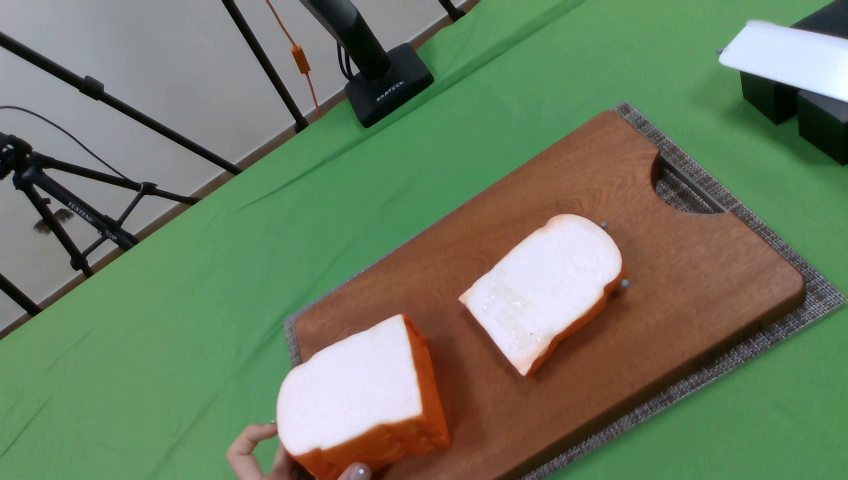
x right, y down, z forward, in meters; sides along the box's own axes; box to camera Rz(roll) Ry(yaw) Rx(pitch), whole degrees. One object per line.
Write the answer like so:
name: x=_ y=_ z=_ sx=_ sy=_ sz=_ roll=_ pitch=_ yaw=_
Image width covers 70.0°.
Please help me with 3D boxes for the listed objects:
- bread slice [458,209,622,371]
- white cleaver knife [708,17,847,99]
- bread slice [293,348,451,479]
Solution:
bread slice: x=0.102 y=0.035 z=0.509 sx=0.131 sy=0.019 sz=0.103 roll=-44 pitch=42 yaw=4
white cleaver knife: x=0.345 y=-0.122 z=0.454 sx=0.066 sy=0.022 sz=0.283 roll=-45 pitch=46 yaw=-1
bread slice: x=-0.049 y=0.153 z=0.533 sx=0.134 sy=0.018 sz=0.106 roll=-13 pitch=46 yaw=5
